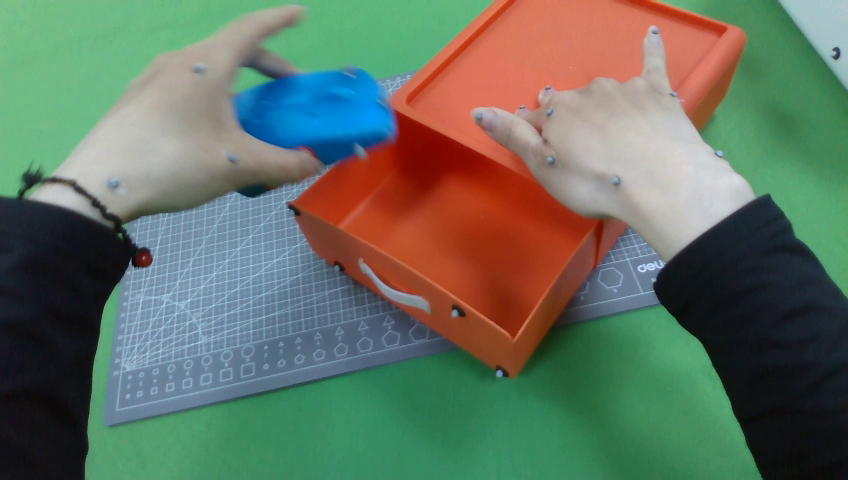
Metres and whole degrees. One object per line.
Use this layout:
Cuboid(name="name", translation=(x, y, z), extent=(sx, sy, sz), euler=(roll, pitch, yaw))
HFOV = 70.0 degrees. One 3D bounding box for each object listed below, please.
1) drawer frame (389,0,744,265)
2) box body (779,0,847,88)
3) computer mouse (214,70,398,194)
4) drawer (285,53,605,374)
Cuboid(name="drawer frame", translation=(0.108, -0.114, 0.495), extent=(0.200, 0.083, 0.213), euler=(31, 66, 26))
Cuboid(name="box body", translation=(0.454, -0.221, 0.466), extent=(0.254, 0.162, 0.360), euler=(-11, 56, 1))
Cuboid(name="computer mouse", translation=(-0.077, -0.075, 0.386), extent=(0.117, 0.041, 0.062), euler=(-19, 56, -6))
Cuboid(name="drawer", translation=(0.041, -0.039, 0.456), extent=(0.193, 0.074, 0.211), euler=(29, 65, 26))
